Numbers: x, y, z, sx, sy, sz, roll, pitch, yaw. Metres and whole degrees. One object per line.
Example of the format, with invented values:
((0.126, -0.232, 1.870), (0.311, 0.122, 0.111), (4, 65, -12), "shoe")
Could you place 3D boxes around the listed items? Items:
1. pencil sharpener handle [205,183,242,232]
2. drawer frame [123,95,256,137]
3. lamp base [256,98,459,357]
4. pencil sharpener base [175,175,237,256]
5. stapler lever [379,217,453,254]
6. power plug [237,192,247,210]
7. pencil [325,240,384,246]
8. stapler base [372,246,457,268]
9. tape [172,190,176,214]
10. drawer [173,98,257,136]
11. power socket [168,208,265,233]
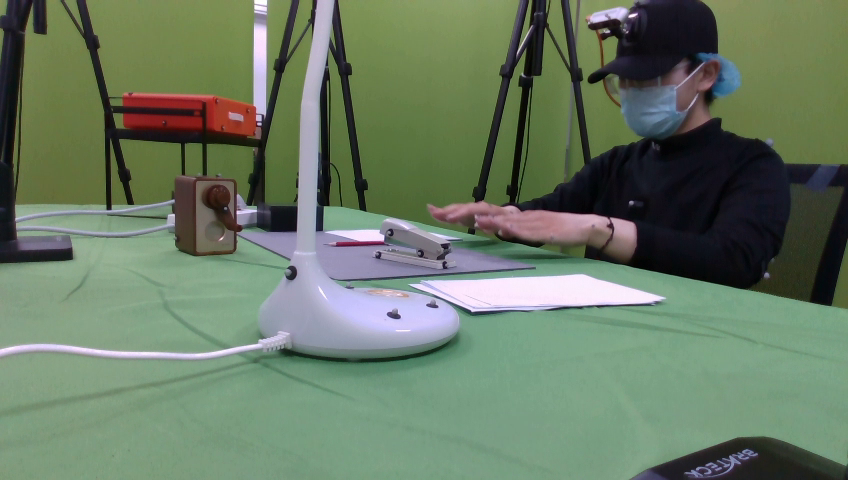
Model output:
((-0.265, -0.043, 0.812), (0.036, 0.068, 0.030), (-32, 28, -35), "pencil sharpener handle")
((-0.524, -0.281, 1.376), (0.213, 0.082, 0.202), (3, 8, 8), "drawer frame")
((-0.055, -0.013, 0.463), (0.160, 0.180, 0.180), (6, 11, 27), "lamp base")
((-0.304, -0.036, 0.847), (0.062, 0.107, 0.076), (-4, 10, -42), "pencil sharpener base")
((-0.014, -0.007, 0.827), (0.117, 0.040, 0.027), (9, 12, 39), "stapler lever")
((-0.386, -0.071, 1.204), (0.072, 0.052, 0.035), (7, 8, 26), "power plug")
((-0.066, 0.003, 0.979), (0.195, 0.012, 0.012), (-3, 9, -25), "pencil")
((-0.016, 0.017, 0.831), (0.130, 0.024, 0.041), (10, 12, 39), "stapler base")
((-0.515, -0.087, 1.388), (0.117, 0.052, 0.117), (3, 7, 0), "tape")
((-0.518, -0.279, 1.376), (0.211, 0.073, 0.195), (3, 8, 10), "drawer")
((-0.381, -0.038, 1.129), (0.072, 0.032, 0.227), (4, 8, 17), "power socket")
